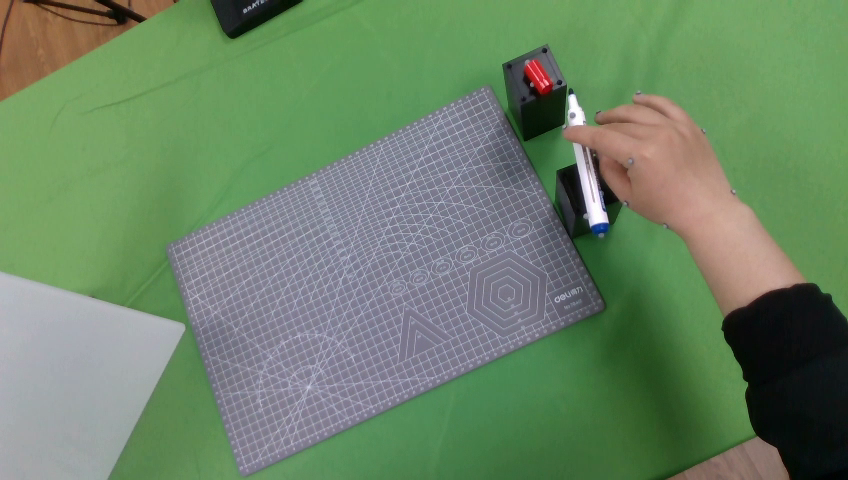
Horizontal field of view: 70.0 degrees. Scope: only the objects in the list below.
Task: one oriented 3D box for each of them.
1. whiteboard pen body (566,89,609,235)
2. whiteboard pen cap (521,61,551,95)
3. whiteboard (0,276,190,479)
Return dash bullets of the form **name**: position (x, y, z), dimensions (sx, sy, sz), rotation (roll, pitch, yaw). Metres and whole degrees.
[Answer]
- **whiteboard pen body**: position (0.142, -0.072, 0.536), dimensions (0.017, 0.017, 0.139), rotation (-11, 74, 9)
- **whiteboard pen cap**: position (0.112, -0.162, 0.605), dimensions (0.017, 0.017, 0.032), rotation (-31, 76, 3)
- **whiteboard**: position (-0.456, 0.132, 0.642), dimensions (0.142, 0.308, 0.217), rotation (22, 83, 35)
